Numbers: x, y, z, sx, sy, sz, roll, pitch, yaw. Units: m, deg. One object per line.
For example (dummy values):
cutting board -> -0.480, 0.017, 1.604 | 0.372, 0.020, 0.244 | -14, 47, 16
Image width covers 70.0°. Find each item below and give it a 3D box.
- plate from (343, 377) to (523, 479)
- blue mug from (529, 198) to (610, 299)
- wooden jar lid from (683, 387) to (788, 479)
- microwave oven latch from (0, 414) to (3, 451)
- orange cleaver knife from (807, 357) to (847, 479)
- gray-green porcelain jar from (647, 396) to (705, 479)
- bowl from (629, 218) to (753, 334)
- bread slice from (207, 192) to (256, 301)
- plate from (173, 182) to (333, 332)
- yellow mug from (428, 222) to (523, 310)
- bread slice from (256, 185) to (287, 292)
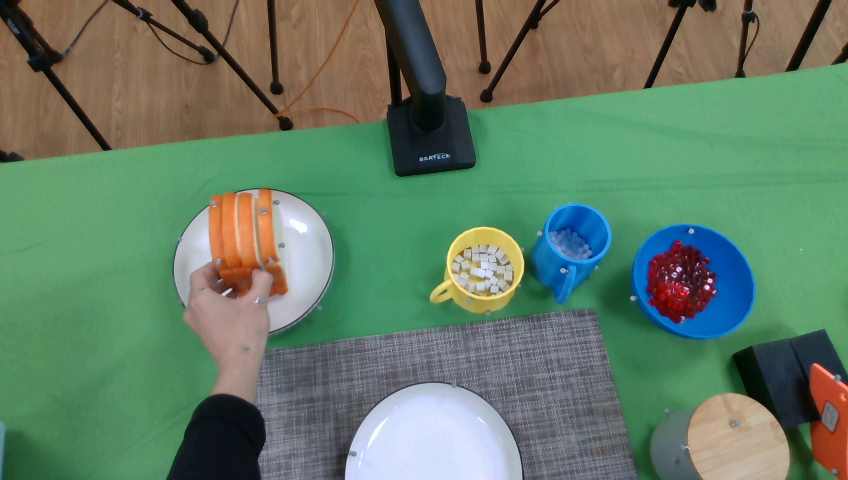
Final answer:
plate -> 0.011, 0.268, 0.712 | 0.209, 0.038, 0.207 | 0, 68, -1
blue mug -> 0.183, 0.019, 0.781 | 0.082, 0.106, 0.116 | 11, 69, 4
wooden jar lid -> 0.321, 0.208, 0.631 | 0.108, 0.021, 0.107 | 1, 69, -3
microwave oven latch -> -0.506, 0.239, 0.696 | 0.030, 0.030, 0.078 | -7, 70, -4
orange cleaver knife -> 0.480, 0.244, 0.712 | 0.012, 0.077, 0.212 | -11, 99, -4
gray-green porcelain jar -> 0.321, 0.232, 0.689 | 0.106, 0.127, 0.105 | 1, 68, -1
bowl -> 0.332, 0.055, 0.785 | 0.151, 0.077, 0.150 | 0, 69, 0
bread slice -> -0.237, 0.001, 0.754 | 0.018, 0.135, 0.106 | -9, 63, -1
plate -> -0.223, 0.023, 0.807 | 0.208, 0.039, 0.206 | 1, 69, -1
yellow mug -> 0.062, 0.042, 0.791 | 0.131, 0.064, 0.099 | -29, 71, -10
bread slice -> -0.189, -0.005, 0.755 | 0.019, 0.132, 0.104 | -8, 68, -8
